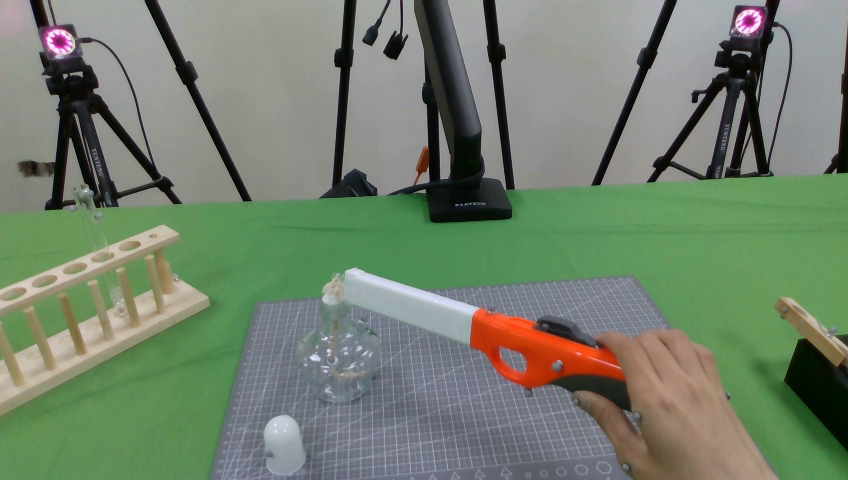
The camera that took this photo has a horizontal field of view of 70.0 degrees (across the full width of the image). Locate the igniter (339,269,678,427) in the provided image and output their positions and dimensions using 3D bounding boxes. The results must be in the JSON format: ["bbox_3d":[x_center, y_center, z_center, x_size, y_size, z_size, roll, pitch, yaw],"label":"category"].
[{"bbox_3d":[0.045,0.070,0.444,0.274,0.057,0.025,15,20,32],"label":"igniter"}]

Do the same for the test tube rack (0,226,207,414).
[{"bbox_3d":[-0.351,0.076,0.610,0.066,0.086,0.242,22,37,34],"label":"test tube rack"}]

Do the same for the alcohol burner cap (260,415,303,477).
[{"bbox_3d":[-0.117,0.163,0.490,0.034,0.048,0.033,-1,30,1],"label":"alcohol burner cap"}]

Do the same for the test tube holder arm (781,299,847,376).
[{"bbox_3d":[0.358,0.106,0.513,0.013,0.015,0.176,3,29,-12],"label":"test tube holder arm"}]

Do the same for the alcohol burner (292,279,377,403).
[{"bbox_3d":[-0.082,0.088,0.549,0.078,0.120,0.077,0,28,1],"label":"alcohol burner"}]

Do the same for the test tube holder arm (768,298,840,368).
[{"bbox_3d":[0.345,0.083,0.550,0.010,0.015,0.087,3,29,-12],"label":"test tube holder arm"}]

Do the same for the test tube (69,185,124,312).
[{"bbox_3d":[-0.333,0.012,0.622,0.017,0.151,0.017,0,32,0],"label":"test tube"}]
